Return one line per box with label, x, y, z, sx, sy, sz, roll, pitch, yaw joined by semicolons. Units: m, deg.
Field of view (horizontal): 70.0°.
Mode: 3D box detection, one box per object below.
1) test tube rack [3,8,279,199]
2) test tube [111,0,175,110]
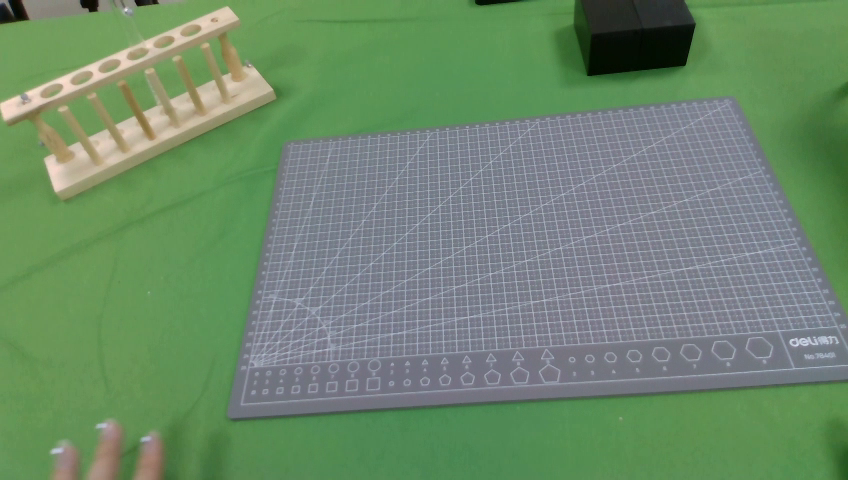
test tube rack;-0.286;-0.145;0.633;0.242;0.086;0.066;-30;53;-15
test tube;-0.284;-0.196;0.609;0.017;0.152;0.017;-3;47;3
